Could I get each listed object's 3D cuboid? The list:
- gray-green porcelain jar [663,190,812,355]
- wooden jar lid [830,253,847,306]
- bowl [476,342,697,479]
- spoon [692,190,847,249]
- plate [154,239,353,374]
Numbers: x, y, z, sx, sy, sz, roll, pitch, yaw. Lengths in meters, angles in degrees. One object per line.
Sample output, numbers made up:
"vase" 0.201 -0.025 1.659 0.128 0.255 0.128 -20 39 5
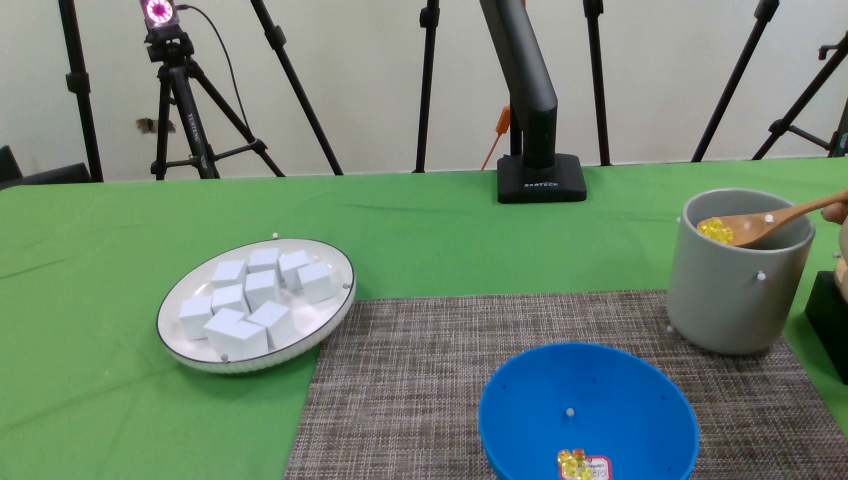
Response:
"gray-green porcelain jar" 0.281 0.034 0.558 0.106 0.127 0.105 -4 34 3
"wooden jar lid" 0.420 0.045 0.534 0.108 0.021 0.107 -5 34 3
"bowl" 0.114 0.155 0.446 0.151 0.077 0.150 -4 34 3
"spoon" 0.323 -0.026 0.494 0.193 0.022 0.041 -18 32 21
"plate" -0.178 0.071 0.654 0.209 0.038 0.207 -5 34 3
